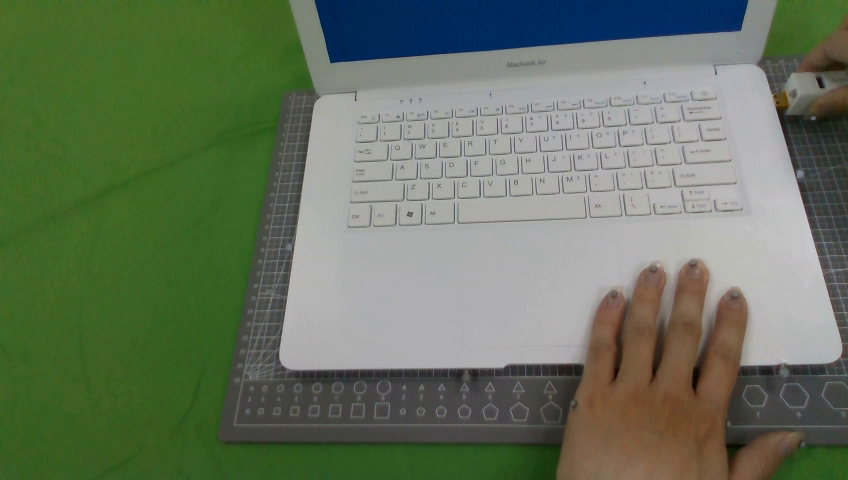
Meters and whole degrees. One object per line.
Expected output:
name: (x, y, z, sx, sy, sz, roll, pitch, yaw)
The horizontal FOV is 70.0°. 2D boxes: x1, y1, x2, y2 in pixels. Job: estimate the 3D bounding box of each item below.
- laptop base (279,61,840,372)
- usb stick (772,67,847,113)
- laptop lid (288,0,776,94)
laptop base: (0.080, -0.022, 0.437, 0.354, 0.023, 0.233, -2, 66, 7)
usb stick: (0.283, -0.108, 0.439, 0.059, 0.027, 0.021, -5, 64, 8)
laptop lid: (0.068, -0.210, 0.409, 0.356, 0.244, 0.013, -3, 44, 8)
